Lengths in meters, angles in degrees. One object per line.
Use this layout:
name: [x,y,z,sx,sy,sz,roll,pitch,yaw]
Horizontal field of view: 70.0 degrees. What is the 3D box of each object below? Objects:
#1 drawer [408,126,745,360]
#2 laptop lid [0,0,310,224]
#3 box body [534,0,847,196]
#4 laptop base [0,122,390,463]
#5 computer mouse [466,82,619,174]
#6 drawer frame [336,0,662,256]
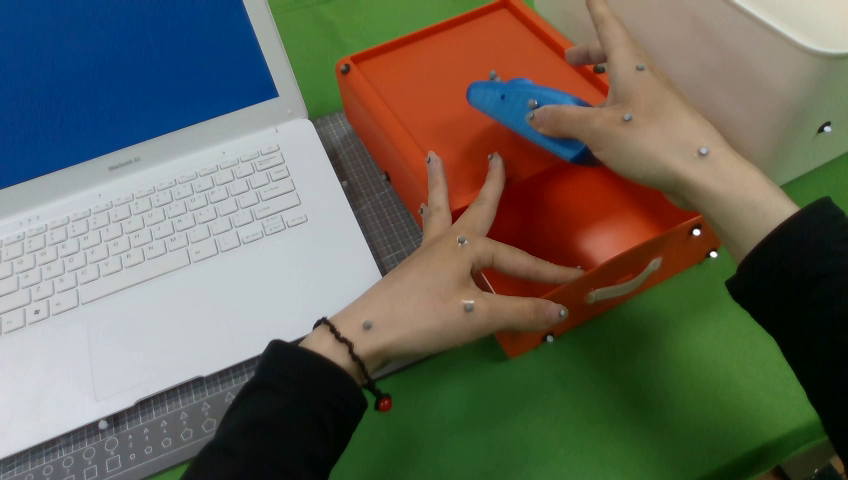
drawer: [0.100,-0.037,0.490,0.194,0.074,0.209,-25,54,-12]
laptop lid: [-0.305,-0.155,0.534,0.357,0.243,0.013,-23,25,-9]
box body: [0.294,-0.237,0.566,0.254,0.162,0.360,-25,55,-12]
laptop base: [-0.229,0.031,0.516,0.355,0.023,0.233,-21,58,-10]
computer mouse: [0.088,-0.088,0.446,0.116,0.041,0.063,35,23,30]
drawer frame: [0.058,-0.104,0.542,0.202,0.083,0.211,-26,55,-14]
